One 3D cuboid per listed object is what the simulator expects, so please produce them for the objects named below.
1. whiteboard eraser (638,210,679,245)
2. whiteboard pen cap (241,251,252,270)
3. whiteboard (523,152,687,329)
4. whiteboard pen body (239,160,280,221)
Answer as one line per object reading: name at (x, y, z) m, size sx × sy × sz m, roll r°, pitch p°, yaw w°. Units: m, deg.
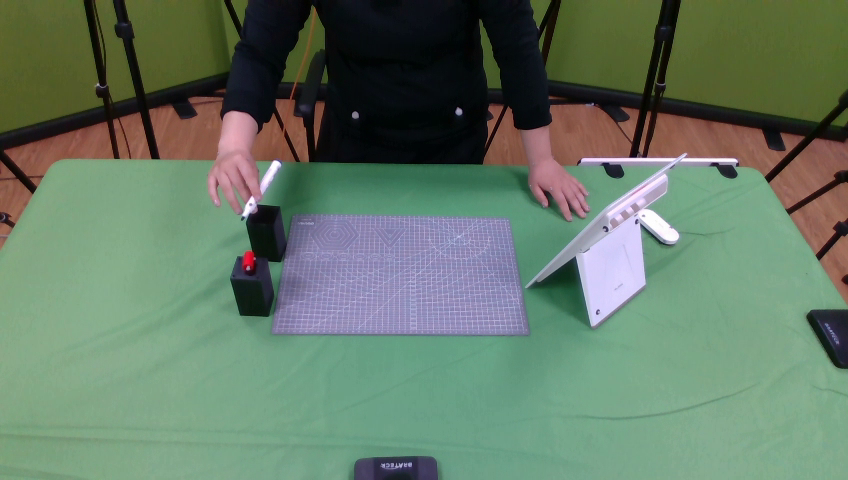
whiteboard eraser at (0.485, -0.027, 1.260) m, size 0.041 × 0.019 × 0.100 m, roll -21°, pitch 50°, yaw -21°
whiteboard pen cap at (-0.294, 0.033, 1.005) m, size 0.017 × 0.017 × 0.032 m, roll -3°, pitch 44°, yaw -7°
whiteboard at (0.346, 0.025, 1.046) m, size 0.217 × 0.306 × 0.143 m, roll -30°, pitch 74°, yaw -29°
whiteboard pen body at (-0.284, -0.086, 1.046) m, size 0.017 × 0.017 × 0.140 m, roll 15°, pitch 56°, yaw 11°
